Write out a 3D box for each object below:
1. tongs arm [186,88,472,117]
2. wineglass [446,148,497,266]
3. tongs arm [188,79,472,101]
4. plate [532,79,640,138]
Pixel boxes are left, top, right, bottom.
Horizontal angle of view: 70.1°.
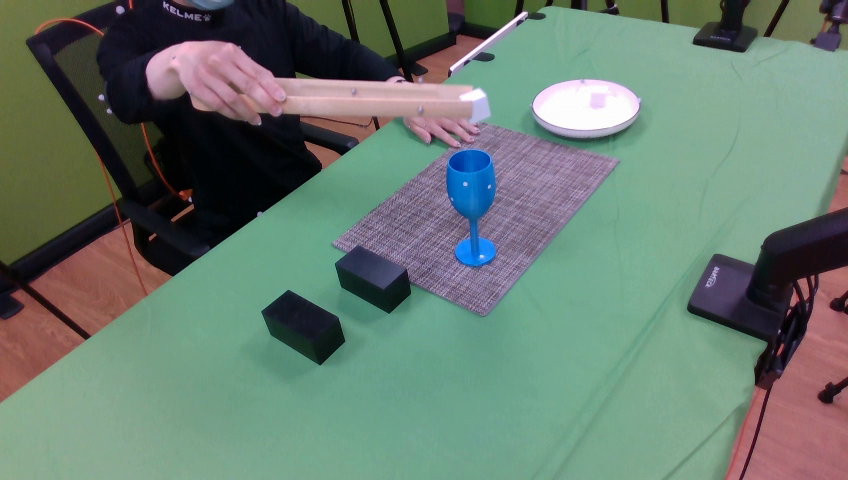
[{"bbox_3d":[-0.130,-0.181,0.804,0.387,0.028,0.028,2,42,4],"label":"tongs arm"},{"bbox_3d":[0.072,-0.046,0.889,0.074,0.173,0.073,-4,41,4],"label":"wineglass"},{"bbox_3d":[-0.128,-0.196,0.824,0.384,0.026,0.050,5,39,7],"label":"tongs arm"},{"bbox_3d":[0.322,-0.259,1.212,0.209,0.038,0.208,-4,40,4],"label":"plate"}]
